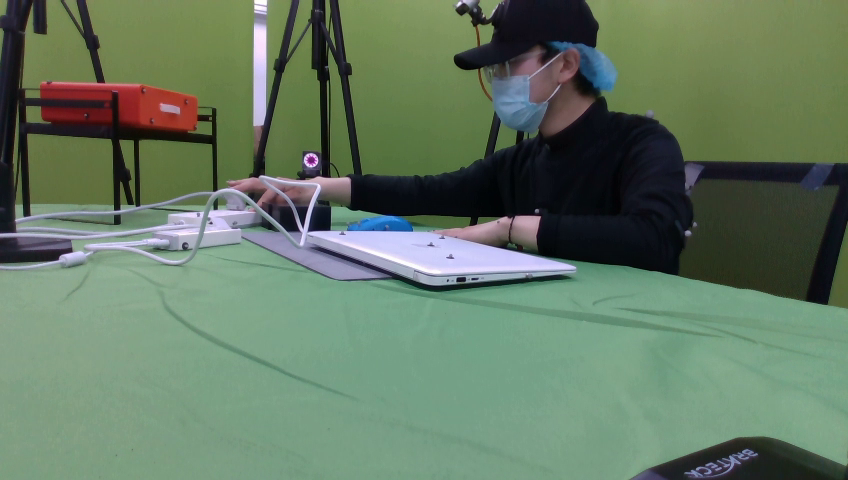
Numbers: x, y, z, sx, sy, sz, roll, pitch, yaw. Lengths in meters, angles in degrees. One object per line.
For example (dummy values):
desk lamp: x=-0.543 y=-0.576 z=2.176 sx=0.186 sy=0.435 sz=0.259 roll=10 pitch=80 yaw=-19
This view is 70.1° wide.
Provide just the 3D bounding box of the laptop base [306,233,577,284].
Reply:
laptop base: x=0.007 y=0.022 z=0.850 sx=0.237 sy=0.023 sz=0.352 roll=1 pitch=7 yaw=-34

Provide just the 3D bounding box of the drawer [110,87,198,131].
drawer: x=-0.602 y=-0.263 z=1.225 sx=0.211 sy=0.073 sz=0.195 roll=3 pitch=8 yaw=10

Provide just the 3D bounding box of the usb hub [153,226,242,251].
usb hub: x=-0.337 y=-0.003 z=0.907 sx=0.049 sy=0.025 sz=0.125 roll=6 pitch=9 yaw=28

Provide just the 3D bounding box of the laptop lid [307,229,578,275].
laptop lid: x=0.009 y=0.010 z=0.850 sx=0.243 sy=0.013 sz=0.355 roll=0 pitch=8 yaw=-32

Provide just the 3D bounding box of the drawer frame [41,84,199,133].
drawer frame: x=-0.604 y=-0.264 z=1.225 sx=0.213 sy=0.082 sz=0.202 roll=3 pitch=8 yaw=8

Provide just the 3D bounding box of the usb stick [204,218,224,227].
usb stick: x=-0.345 y=-0.019 z=1.009 sx=0.027 sy=0.021 sz=0.059 roll=46 pitch=-8 yaw=1

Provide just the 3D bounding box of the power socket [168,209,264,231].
power socket: x=-0.381 y=-0.038 z=1.128 sx=0.072 sy=0.032 sz=0.227 roll=4 pitch=8 yaw=16

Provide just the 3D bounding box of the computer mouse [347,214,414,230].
computer mouse: x=-0.079 y=-0.025 z=1.080 sx=0.117 sy=0.041 sz=0.062 roll=-5 pitch=11 yaw=-18

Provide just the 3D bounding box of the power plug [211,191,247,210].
power plug: x=-0.386 y=-0.070 z=1.204 sx=0.072 sy=0.052 sz=0.035 roll=8 pitch=10 yaw=27
